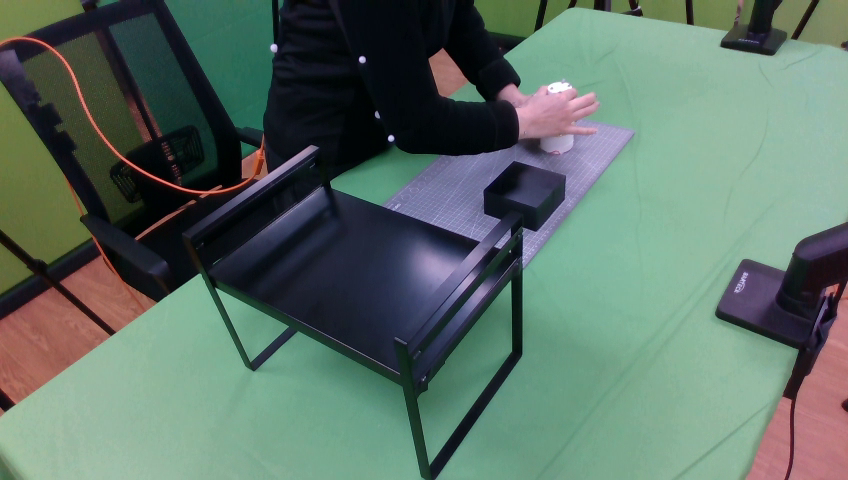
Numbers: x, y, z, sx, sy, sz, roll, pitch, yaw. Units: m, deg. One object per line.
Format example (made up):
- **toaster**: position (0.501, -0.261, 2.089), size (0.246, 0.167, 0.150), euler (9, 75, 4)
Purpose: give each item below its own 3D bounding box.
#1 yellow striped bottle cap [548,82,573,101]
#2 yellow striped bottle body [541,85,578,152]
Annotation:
- **yellow striped bottle cap**: position (0.246, -0.268, 1.091), size (0.044, 0.019, 0.044), euler (-4, 39, 4)
- **yellow striped bottle body**: position (0.252, -0.230, 1.125), size (0.063, 0.121, 0.062), euler (-3, 42, 3)
